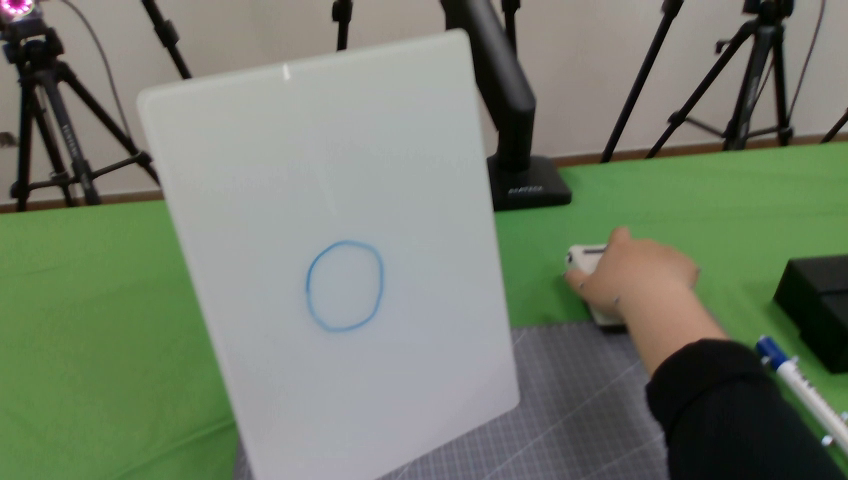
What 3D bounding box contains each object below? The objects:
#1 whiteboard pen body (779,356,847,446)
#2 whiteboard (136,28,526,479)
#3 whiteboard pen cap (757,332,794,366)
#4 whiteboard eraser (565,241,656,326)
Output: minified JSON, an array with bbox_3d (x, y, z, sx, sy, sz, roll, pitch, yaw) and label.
[{"bbox_3d":[0.329,0.134,0.501,0.017,0.017,0.139,-6,35,-7],"label":"whiteboard pen body"},{"bbox_3d":[-0.066,0.015,0.477,0.218,0.307,0.142,-19,20,-23],"label":"whiteboard"},{"bbox_3d":[0.319,0.099,0.547,0.018,0.018,0.033,-7,34,-8],"label":"whiteboard pen cap"},{"bbox_3d":[0.185,0.043,0.610,0.055,0.042,0.111,-5,31,-4],"label":"whiteboard eraser"}]
